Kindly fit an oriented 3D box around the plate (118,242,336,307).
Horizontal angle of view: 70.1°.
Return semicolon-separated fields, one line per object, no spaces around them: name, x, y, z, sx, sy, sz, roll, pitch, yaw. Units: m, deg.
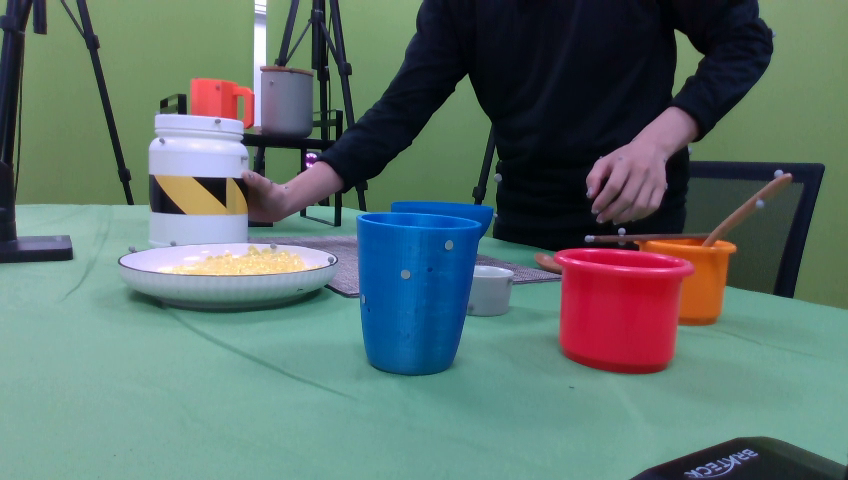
plate;-0.194;0.033;0.615;0.209;0.038;0.209;2;7;0

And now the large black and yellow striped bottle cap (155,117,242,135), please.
large black and yellow striped bottle cap;-0.313;-0.159;0.846;0.115;0.019;0.115;3;9;0

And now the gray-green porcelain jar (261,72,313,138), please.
gray-green porcelain jar;-0.284;-0.276;1.253;0.106;0.126;0.106;2;8;0

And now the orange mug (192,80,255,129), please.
orange mug;-0.389;-0.257;1.173;0.126;0.100;0.083;-1;7;9

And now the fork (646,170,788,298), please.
fork;0.256;0.004;0.543;0.028;0.018;0.207;3;-37;-10

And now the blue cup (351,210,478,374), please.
blue cup;-0.009;0.034;0.414;0.093;0.100;0.092;3;8;0

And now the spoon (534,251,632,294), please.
spoon;0.193;0.038;0.753;0.042;0.021;0.193;15;2;-21

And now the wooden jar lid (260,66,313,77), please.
wooden jar lid;-0.283;-0.339;1.244;0.108;0.020;0.108;5;8;0

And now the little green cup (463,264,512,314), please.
little green cup;0.053;0.047;0.580;0.061;0.038;0.061;3;8;0

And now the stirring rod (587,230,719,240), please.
stirring rod;0.226;-0.006;0.587;0.177;0.006;0.014;-2;9;-29

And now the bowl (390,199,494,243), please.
bowl;0.024;-0.016;0.874;0.151;0.077;0.151;3;7;0

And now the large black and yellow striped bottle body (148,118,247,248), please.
large black and yellow striped bottle body;-0.318;-0.076;0.855;0.131;0.184;0.130;2;7;0
